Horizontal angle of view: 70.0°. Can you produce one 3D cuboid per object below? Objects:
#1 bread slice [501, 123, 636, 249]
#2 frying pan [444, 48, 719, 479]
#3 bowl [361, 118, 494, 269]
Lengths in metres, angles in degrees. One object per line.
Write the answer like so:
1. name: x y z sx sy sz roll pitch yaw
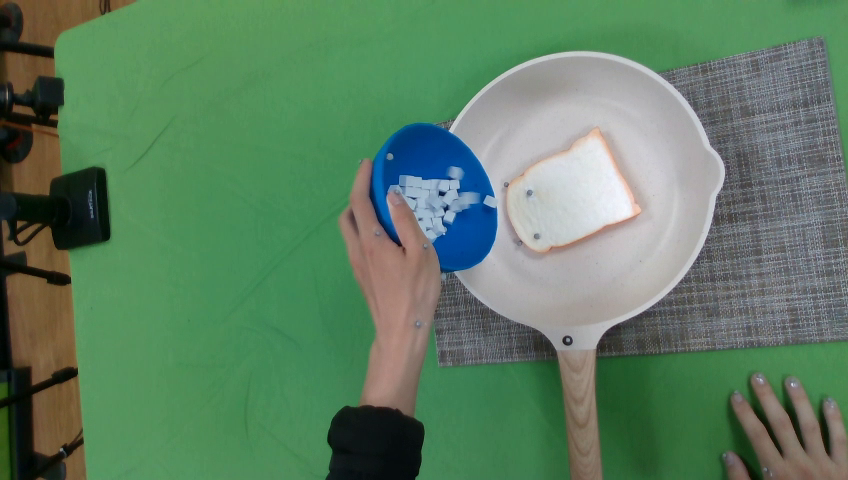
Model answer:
1. bread slice: 0.156 -0.050 0.681 0.134 0.018 0.106 -30 77 16
2. frying pan: 0.150 0.048 0.637 0.306 0.103 0.485 -5 78 23
3. bowl: -0.010 -0.036 0.601 0.076 0.152 0.151 -23 79 45
